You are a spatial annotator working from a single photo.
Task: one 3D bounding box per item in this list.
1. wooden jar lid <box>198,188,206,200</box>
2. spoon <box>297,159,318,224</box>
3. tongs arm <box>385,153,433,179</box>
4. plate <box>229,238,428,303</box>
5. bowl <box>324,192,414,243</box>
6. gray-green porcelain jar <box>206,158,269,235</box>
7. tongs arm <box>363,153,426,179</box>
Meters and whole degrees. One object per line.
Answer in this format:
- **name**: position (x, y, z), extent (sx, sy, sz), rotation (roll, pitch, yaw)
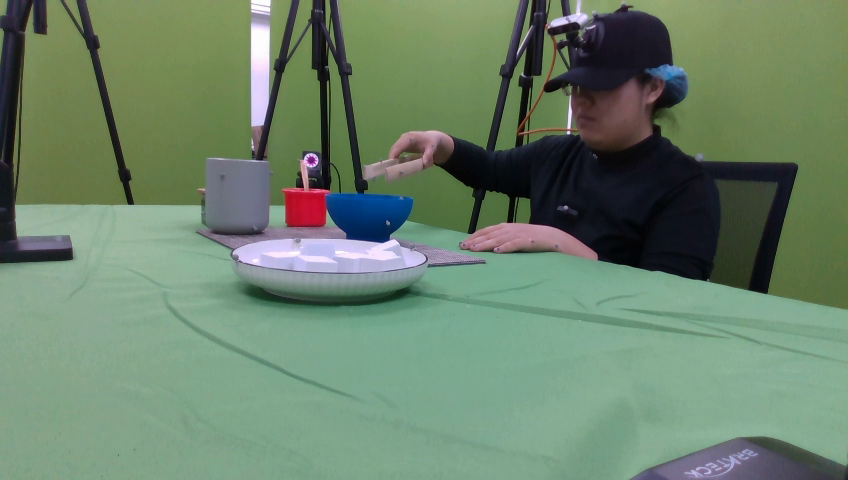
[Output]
- **wooden jar lid**: position (-0.382, -0.088, 1.175), extent (0.108, 0.020, 0.108), rotation (3, 8, 0)
- **spoon**: position (-0.244, -0.103, 1.251), extent (0.042, 0.021, 0.193), rotation (1, 51, -17)
- **tongs arm**: position (-0.025, -0.153, 1.226), extent (0.028, 0.028, 0.388), rotation (-3, 10, 13)
- **plate**: position (-0.099, 0.032, 0.651), extent (0.209, 0.038, 0.209), rotation (3, 8, 0)
- **bowl**: position (-0.094, -0.037, 1.015), extent (0.151, 0.077, 0.151), rotation (3, 7, 0)
- **gray-green porcelain jar**: position (-0.322, -0.076, 1.048), extent (0.106, 0.126, 0.106), rotation (3, 7, 0)
- **tongs arm**: position (-0.051, -0.154, 1.231), extent (0.051, 0.026, 0.385), rotation (-1, 11, 9)
